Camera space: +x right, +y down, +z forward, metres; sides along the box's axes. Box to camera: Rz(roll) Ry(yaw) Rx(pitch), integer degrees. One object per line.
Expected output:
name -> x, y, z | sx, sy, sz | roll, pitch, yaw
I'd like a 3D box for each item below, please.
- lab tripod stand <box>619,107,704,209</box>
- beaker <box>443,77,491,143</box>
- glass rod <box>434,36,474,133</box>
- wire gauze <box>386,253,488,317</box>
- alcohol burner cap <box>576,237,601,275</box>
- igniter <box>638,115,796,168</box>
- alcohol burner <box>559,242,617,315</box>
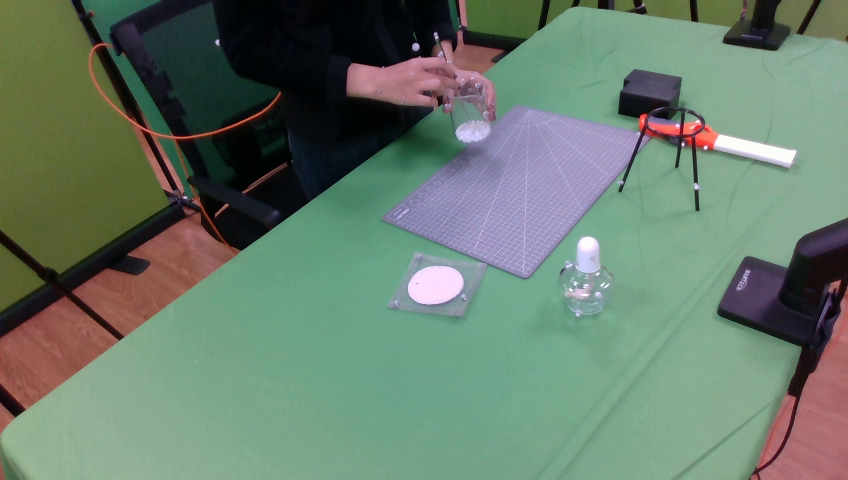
lab tripod stand -> 0.400, -0.136, 0.981 | 0.148, 0.132, 0.147 | -4, 41, 4
beaker -> 0.083, -0.232, 1.094 | 0.074, 0.101, 0.083 | -37, 44, -25
glass rod -> 0.055, -0.264, 1.047 | 0.008, 0.201, 0.008 | -15, 43, 15
wire gauze -> 0.021, 0.067, 0.910 | 0.121, 0.011, 0.125 | 9, 41, 20
alcohol burner cap -> 0.216, 0.018, 0.793 | 0.034, 0.048, 0.033 | -7, 35, 6
igniter -> 0.517, -0.181, 1.093 | 0.274, 0.025, 0.057 | 23, 65, 32
alcohol burner -> 0.222, 0.045, 0.816 | 0.078, 0.119, 0.077 | -4, 42, 4
